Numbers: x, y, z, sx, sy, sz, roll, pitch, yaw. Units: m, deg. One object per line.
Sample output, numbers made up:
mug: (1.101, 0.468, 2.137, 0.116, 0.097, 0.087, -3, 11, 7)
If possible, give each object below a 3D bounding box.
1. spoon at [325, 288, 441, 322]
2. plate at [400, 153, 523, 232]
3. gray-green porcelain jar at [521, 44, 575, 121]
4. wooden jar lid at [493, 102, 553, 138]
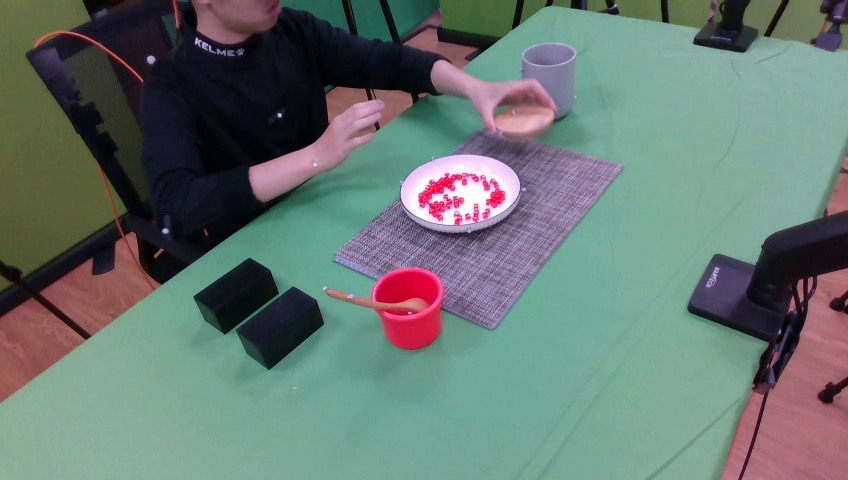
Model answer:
spoon: (-0.047, 0.084, 0.776, 0.195, 0.021, 0.041, 13, 26, -42)
plate: (0.065, -0.078, 1.034, 0.207, 0.039, 0.206, -4, 41, 4)
gray-green porcelain jar: (0.249, -0.313, 1.219, 0.106, 0.127, 0.105, -4, 41, 4)
wooden jar lid: (0.179, -0.216, 1.091, 0.108, 0.021, 0.108, -9, 39, 8)
